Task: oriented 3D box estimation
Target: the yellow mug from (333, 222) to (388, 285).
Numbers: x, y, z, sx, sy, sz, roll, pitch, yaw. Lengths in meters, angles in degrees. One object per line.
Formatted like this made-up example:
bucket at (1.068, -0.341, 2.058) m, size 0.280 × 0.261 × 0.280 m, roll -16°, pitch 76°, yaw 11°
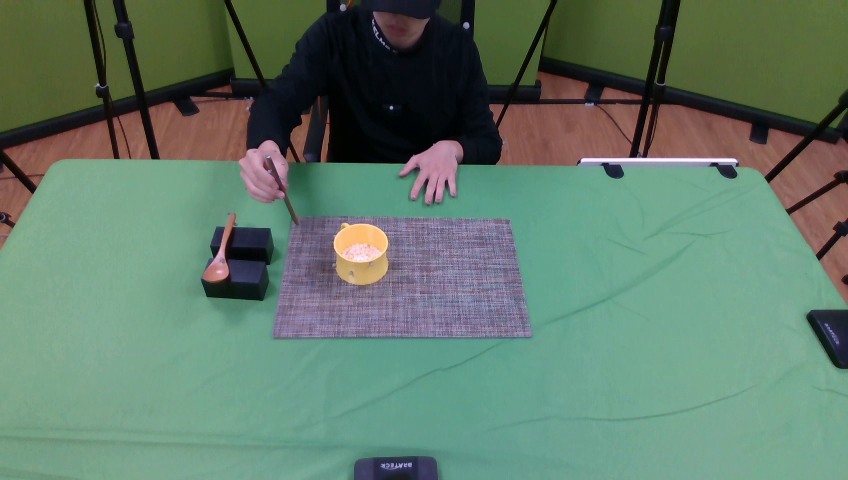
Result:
yellow mug at (-0.126, 0.016, 1.139) m, size 0.100 × 0.064 × 0.130 m, roll -24°, pitch 51°, yaw -24°

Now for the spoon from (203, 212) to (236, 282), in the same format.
spoon at (-0.361, 0.009, 1.097) m, size 0.041 × 0.022 × 0.192 m, roll -1°, pitch 44°, yaw -2°

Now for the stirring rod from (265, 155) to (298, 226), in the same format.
stirring rod at (-0.240, -0.081, 1.031) m, size 0.014 × 0.177 × 0.006 m, roll 37°, pitch 66°, yaw 28°
